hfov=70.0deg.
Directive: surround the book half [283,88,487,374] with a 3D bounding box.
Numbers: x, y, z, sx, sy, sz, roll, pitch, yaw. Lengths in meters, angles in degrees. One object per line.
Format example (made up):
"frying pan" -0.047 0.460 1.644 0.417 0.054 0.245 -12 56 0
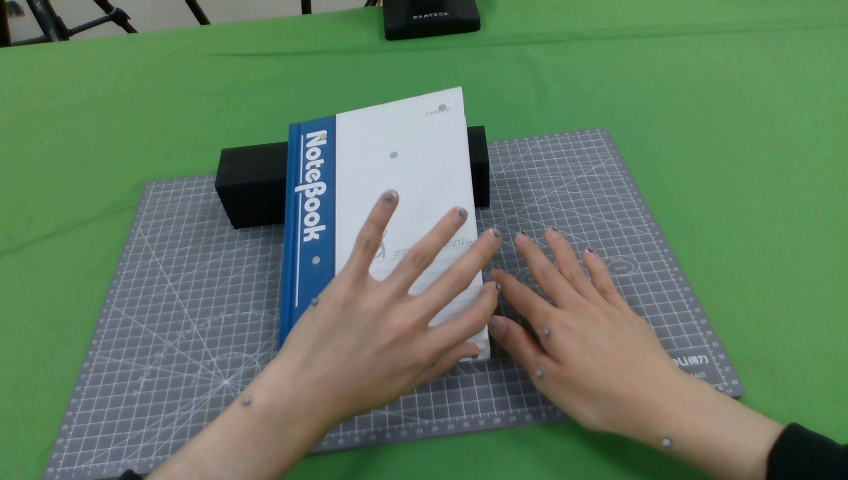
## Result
"book half" -0.034 -0.014 0.443 0.143 0.007 0.208 -10 62 12
